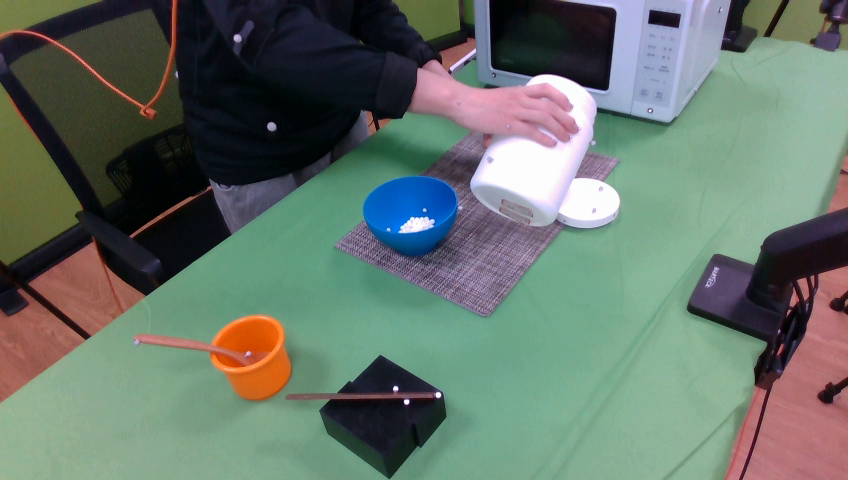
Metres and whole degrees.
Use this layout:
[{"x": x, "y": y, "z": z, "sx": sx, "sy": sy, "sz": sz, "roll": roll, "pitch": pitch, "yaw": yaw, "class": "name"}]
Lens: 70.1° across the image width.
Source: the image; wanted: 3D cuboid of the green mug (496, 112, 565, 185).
[{"x": 0.185, "y": -0.161, "z": 1.061, "sx": 0.124, "sy": 0.105, "sz": 0.092, "roll": 14, "pitch": 46, "yaw": 25, "class": "green mug"}]

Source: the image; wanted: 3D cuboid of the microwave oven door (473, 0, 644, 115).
[{"x": 0.257, "y": -0.396, "z": 1.199, "sx": 0.353, "sy": 0.245, "sz": 0.039, "roll": 21, "pitch": 48, "yaw": 29, "class": "microwave oven door"}]

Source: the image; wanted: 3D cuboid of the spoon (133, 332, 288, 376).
[{"x": -0.257, "y": 0.137, "z": 0.747, "sx": 0.021, "sy": 0.195, "sz": 0.041, "roll": -46, "pitch": 40, "yaw": 23, "class": "spoon"}]

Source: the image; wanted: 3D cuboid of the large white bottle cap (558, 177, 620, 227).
[{"x": 0.265, "y": -0.064, "z": 1.000, "sx": 0.115, "sy": 0.018, "sz": 0.114, "roll": -1, "pitch": 42, "yaw": 1, "class": "large white bottle cap"}]

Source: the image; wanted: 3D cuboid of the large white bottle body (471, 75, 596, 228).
[{"x": 0.160, "y": -0.125, "z": 0.860, "sx": 0.129, "sy": 0.131, "sz": 0.184, "roll": 20, "pitch": 78, "yaw": 29, "class": "large white bottle body"}]

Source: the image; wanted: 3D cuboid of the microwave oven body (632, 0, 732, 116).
[{"x": 0.377, "y": -0.463, "z": 1.267, "sx": 0.438, "sy": 0.261, "sz": 0.327, "roll": 21, "pitch": 48, "yaw": 30, "class": "microwave oven body"}]

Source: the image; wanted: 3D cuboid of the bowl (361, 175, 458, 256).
[{"x": -0.019, "y": -0.028, "z": 0.955, "sx": 0.151, "sy": 0.077, "sz": 0.150, "roll": -4, "pitch": 40, "yaw": 4, "class": "bowl"}]

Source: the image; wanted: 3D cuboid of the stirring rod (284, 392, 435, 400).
[{"x": -0.075, "y": 0.180, "z": 0.698, "sx": 0.176, "sy": 0.006, "sz": 0.014, "roll": -2, "pitch": 6, "yaw": 7, "class": "stirring rod"}]

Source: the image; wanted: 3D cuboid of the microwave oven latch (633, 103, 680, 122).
[{"x": 0.444, "y": -0.249, "z": 1.157, "sx": 0.078, "sy": 0.029, "sz": 0.030, "roll": 21, "pitch": 49, "yaw": 30, "class": "microwave oven latch"}]
